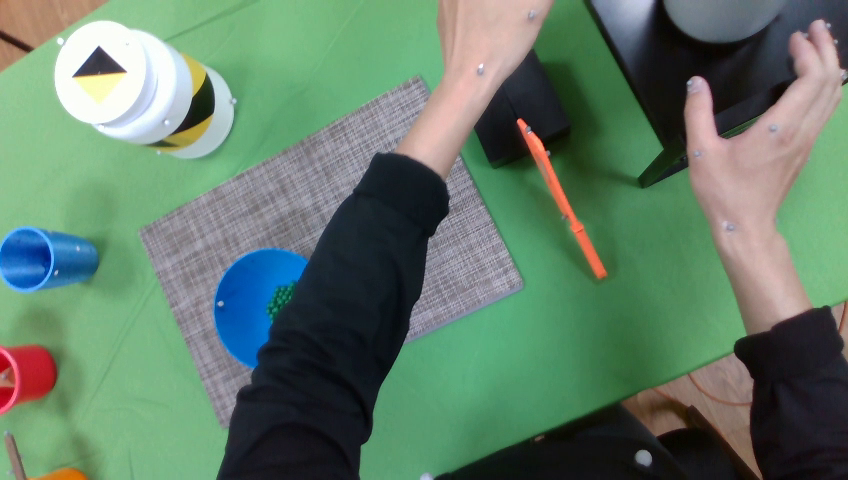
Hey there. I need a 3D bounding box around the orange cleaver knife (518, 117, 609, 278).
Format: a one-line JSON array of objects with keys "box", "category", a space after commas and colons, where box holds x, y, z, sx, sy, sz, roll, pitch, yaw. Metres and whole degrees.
[{"box": [0.162, -0.047, 0.703, 0.012, 0.076, 0.213, -29, 113, 7], "category": "orange cleaver knife"}]

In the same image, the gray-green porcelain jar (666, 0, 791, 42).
[{"box": [0.253, -0.226, 0.484, 0.105, 0.127, 0.105, 0, 88, 12], "category": "gray-green porcelain jar"}]

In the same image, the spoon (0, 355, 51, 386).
[{"box": [-0.617, 0.201, 0.821, 0.194, 0.021, 0.041, -15, 85, -33], "category": "spoon"}]

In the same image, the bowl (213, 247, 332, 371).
[{"box": [-0.178, 0.084, 0.766, 0.151, 0.077, 0.151, 0, 89, 11], "category": "bowl"}]

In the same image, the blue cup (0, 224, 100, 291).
[{"box": [-0.501, 0.024, 0.823, 0.092, 0.100, 0.092, 0, 89, 10], "category": "blue cup"}]

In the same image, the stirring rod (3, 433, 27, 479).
[{"box": [-0.520, 0.338, 0.793, 0.014, 0.006, 0.175, -21, 85, 8], "category": "stirring rod"}]

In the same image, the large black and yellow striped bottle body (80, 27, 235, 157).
[{"box": [-0.337, -0.182, 0.754, 0.130, 0.184, 0.130, 0, 88, 11], "category": "large black and yellow striped bottle body"}]

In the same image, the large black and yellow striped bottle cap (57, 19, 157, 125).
[{"box": [-0.352, -0.186, 0.672, 0.115, 0.019, 0.115, 0, 90, 12], "category": "large black and yellow striped bottle cap"}]
